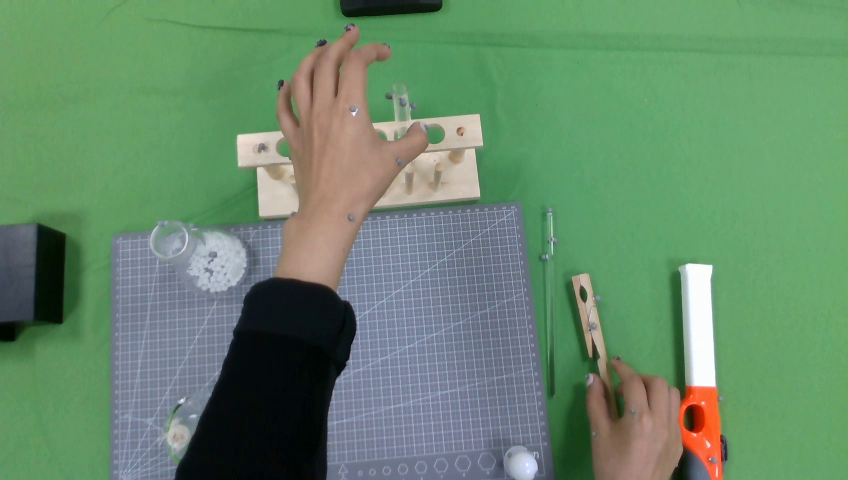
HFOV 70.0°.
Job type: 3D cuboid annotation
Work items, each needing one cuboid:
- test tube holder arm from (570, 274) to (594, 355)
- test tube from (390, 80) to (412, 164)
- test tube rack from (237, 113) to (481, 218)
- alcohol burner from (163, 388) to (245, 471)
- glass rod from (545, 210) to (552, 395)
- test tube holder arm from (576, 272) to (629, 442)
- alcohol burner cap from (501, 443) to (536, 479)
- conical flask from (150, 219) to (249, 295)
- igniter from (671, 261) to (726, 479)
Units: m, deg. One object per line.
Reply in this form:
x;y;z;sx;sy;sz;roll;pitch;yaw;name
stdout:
0.173;0.079;0.648;0.010;0.015;0.087;-19;78;33;test tube holder arm
-0.021;-0.111;0.598;0.017;0.151;0.017;0;72;1;test tube
-0.063;-0.076;0.641;0.242;0.085;0.066;-5;79;-2;test tube rack
-0.213;0.180;0.571;0.078;0.119;0.077;0;77;2;alcohol burner
0.134;0.065;0.653;0.008;0.008;0.199;2;80;0;glass rod
0.187;0.121;0.636;0.013;0.015;0.177;-20;77;33;test tube holder arm
0.096;0.221;0.603;0.034;0.048;0.033;0;78;1;alcohol burner cap
-0.226;0.012;0.600;0.075;0.122;0.075;0;78;0;conical flask
0.282;0.159;0.627;0.057;0.025;0.275;5;79;-9;igniter
